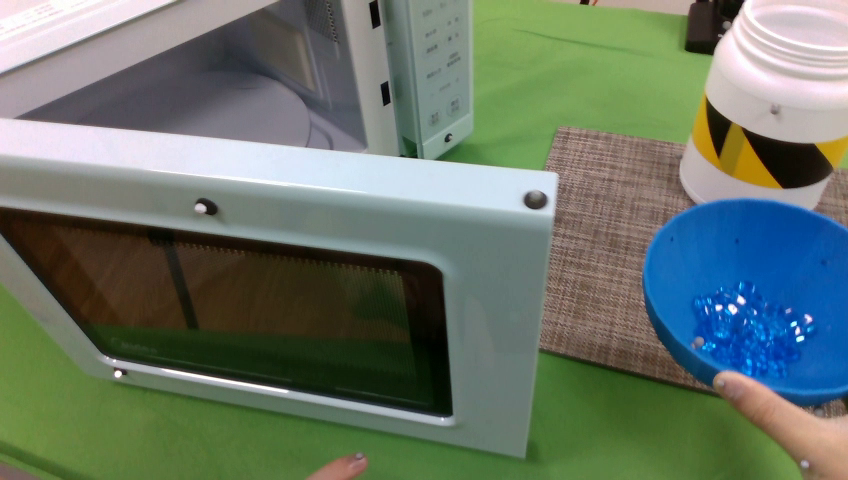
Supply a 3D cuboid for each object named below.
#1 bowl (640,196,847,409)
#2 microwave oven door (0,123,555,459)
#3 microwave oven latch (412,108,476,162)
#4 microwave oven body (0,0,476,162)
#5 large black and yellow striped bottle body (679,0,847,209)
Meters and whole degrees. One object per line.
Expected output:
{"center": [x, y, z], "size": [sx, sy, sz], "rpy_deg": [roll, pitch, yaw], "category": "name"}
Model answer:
{"center": [0.216, 0.051, 0.400], "size": [0.151, 0.077, 0.150], "rpy_deg": [-4, 50, 5], "category": "bowl"}
{"center": [-0.106, 0.040, 0.377], "size": [0.355, 0.246, 0.039], "rpy_deg": [7, 48, 11], "category": "microwave oven door"}
{"center": [0.022, -0.117, 0.651], "size": [0.079, 0.030, 0.030], "rpy_deg": [-35, 55, -24], "category": "microwave oven latch"}
{"center": [-0.215, -0.162, 0.579], "size": [0.441, 0.263, 0.323], "rpy_deg": [-37, 55, -25], "category": "microwave oven body"}
{"center": [0.317, -0.115, 0.544], "size": [0.131, 0.186, 0.129], "rpy_deg": [-2, 47, 3], "category": "large black and yellow striped bottle body"}
